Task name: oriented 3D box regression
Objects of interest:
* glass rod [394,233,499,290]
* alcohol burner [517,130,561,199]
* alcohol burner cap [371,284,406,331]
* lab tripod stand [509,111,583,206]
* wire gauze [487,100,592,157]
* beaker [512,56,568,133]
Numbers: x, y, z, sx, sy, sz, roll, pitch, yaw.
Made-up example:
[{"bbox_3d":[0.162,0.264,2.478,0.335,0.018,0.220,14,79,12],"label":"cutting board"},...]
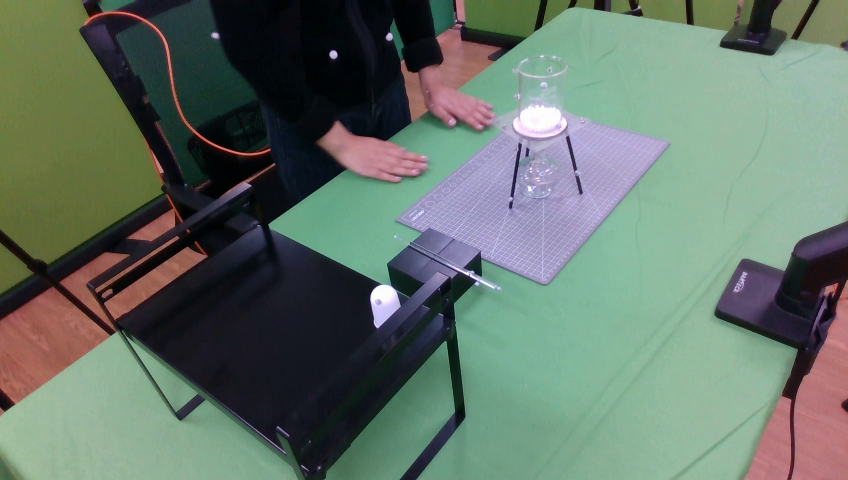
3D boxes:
[{"bbox_3d":[0.028,0.029,0.874,0.198,0.008,0.008,27,51,34],"label":"glass rod"},{"bbox_3d":[0.193,-0.131,1.025,0.078,0.119,0.077,-4,38,4],"label":"alcohol burner"},{"bbox_3d":[-0.037,0.065,0.608,0.034,0.048,0.033,-4,41,4],"label":"alcohol burner cap"},{"bbox_3d":[0.198,-0.139,1.019,0.148,0.132,0.147,-3,39,3],"label":"lab tripod stand"},{"bbox_3d":[0.185,-0.187,0.974,0.122,0.011,0.124,-28,47,-22],"label":"wire gauze"},{"bbox_3d":[0.181,-0.225,0.946,0.084,0.101,0.074,3,41,12],"label":"beaker"}]
